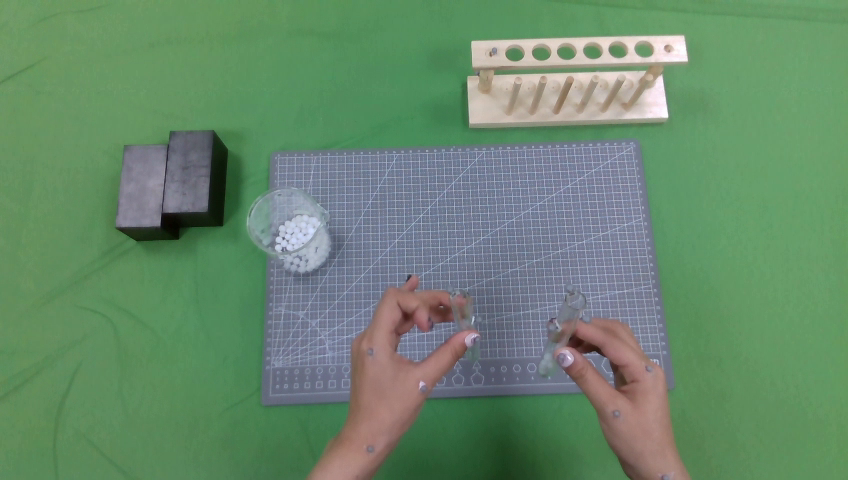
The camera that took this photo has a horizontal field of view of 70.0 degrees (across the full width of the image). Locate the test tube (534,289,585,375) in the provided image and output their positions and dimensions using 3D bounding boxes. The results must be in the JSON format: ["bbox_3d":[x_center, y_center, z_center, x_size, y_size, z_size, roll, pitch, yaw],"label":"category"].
[{"bbox_3d":[0.106,0.079,0.486,0.017,0.151,0.017,0,59,1],"label":"test tube"}]

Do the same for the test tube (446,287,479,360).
[{"bbox_3d":[0.034,0.074,0.509,0.017,0.152,0.017,-4,63,8],"label":"test tube"}]

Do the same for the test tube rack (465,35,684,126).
[{"bbox_3d":[0.173,-0.187,0.720,0.242,0.085,0.066,-2,74,0],"label":"test tube rack"}]

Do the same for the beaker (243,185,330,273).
[{"bbox_3d":[-0.141,-0.008,0.659,0.084,0.101,0.073,-10,74,-3],"label":"beaker"}]
